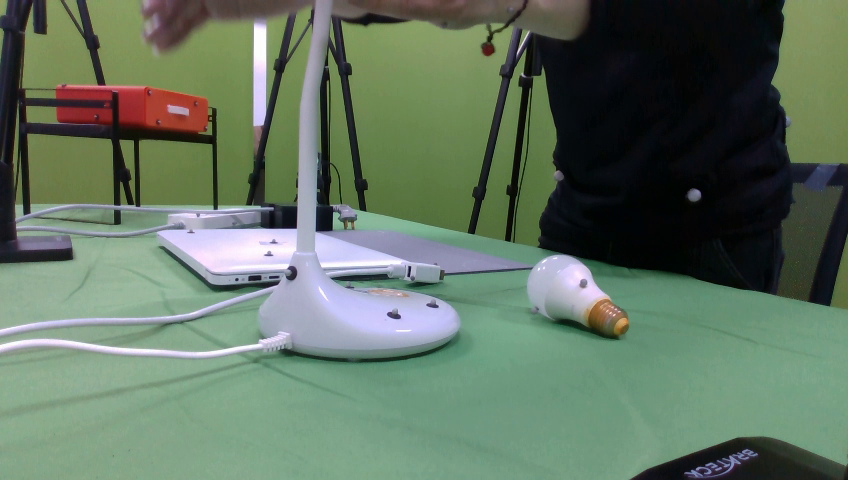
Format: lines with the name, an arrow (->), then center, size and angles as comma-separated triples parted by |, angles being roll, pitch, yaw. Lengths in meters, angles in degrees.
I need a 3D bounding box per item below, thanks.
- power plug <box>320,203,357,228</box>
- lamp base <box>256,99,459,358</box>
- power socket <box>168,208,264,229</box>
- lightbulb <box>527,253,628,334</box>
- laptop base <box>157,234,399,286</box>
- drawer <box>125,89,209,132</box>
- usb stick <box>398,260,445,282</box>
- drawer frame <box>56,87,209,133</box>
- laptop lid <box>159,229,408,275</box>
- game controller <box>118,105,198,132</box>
power plug -> -0.170, -0.046, 1.209 | 0.073, 0.052, 0.035 | -6, -18, -10
lamp base -> -0.055, -0.013, 0.462 | 0.160, 0.180, 0.180 | 6, 11, 27
power socket -> -0.381, -0.038, 1.128 | 0.072, 0.032, 0.227 | 4, 8, 16
lightbulb -> 0.137, 0.050, 0.534 | 0.060, 0.059, 0.107 | -3, 24, -33
laptop base -> -0.204, 0.020, 0.806 | 0.237, 0.023, 0.352 | 0, 8, -33
drawer -> -0.595, -0.268, 1.263 | 0.211, 0.073, 0.195 | 4, 8, 15
usb stick -> -0.001, 0.036, 0.696 | 0.027, 0.021, 0.059 | 9, 2, 43
drawer frame -> -0.598, -0.269, 1.261 | 0.213, 0.082, 0.202 | 4, 8, 14
laptop lid -> -0.201, 0.007, 0.806 | 0.243, 0.013, 0.355 | -1, 8, -31
game controller -> -0.554, -0.252, 1.254 | 0.097, 0.051, 0.155 | 6, 11, 19
